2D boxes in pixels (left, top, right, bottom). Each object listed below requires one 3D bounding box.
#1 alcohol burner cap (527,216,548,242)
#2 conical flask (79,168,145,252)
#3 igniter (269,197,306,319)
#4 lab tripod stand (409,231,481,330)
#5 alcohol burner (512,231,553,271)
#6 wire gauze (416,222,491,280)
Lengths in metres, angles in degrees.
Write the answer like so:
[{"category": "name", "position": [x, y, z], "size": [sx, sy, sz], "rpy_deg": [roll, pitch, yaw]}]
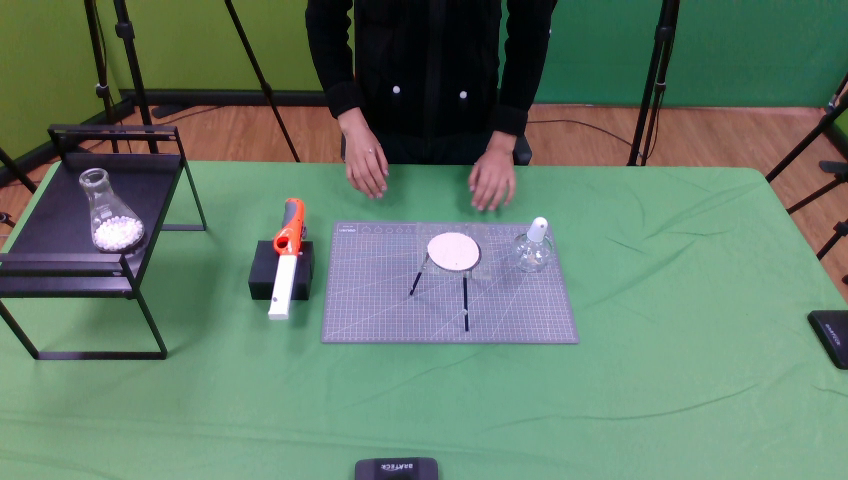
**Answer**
[{"category": "alcohol burner cap", "position": [0.212, -0.023, 1.119], "size": [0.034, 0.048, 0.033], "rpy_deg": [8, 46, -8]}, {"category": "conical flask", "position": [-0.463, -0.048, 0.888], "size": [0.075, 0.122, 0.075], "rpy_deg": [2, 46, -2]}, {"category": "igniter", "position": [-0.246, 0.023, 1.087], "size": [0.057, 0.025, 0.274], "rpy_deg": [-1, 49, -2]}, {"category": "lab tripod stand", "position": [0.051, 0.064, 1.059], "size": [0.148, 0.132, 0.147], "rpy_deg": [3, 46, -3]}, {"category": "alcohol burner", "position": [0.208, 0.002, 1.144], "size": [0.078, 0.119, 0.077], "rpy_deg": [3, 44, -3]}, {"category": "wire gauze", "position": [0.048, 0.014, 1.013], "size": [0.125, 0.011, 0.120], "rpy_deg": [3, 47, -3]}]
